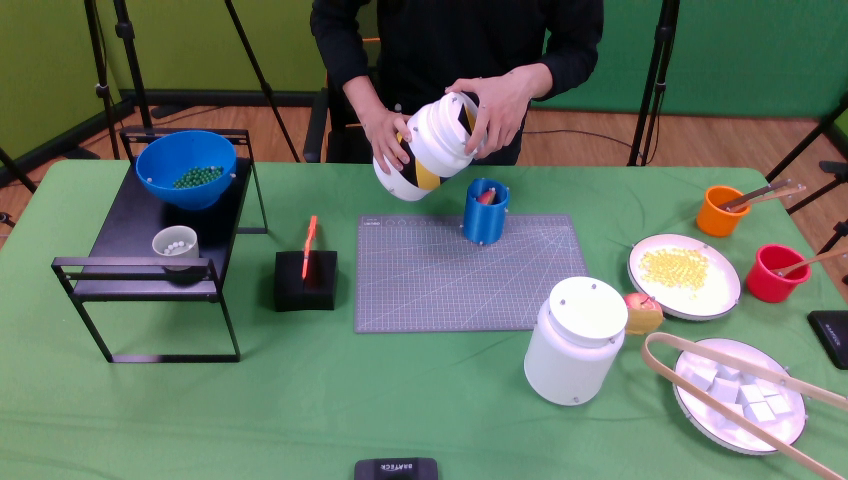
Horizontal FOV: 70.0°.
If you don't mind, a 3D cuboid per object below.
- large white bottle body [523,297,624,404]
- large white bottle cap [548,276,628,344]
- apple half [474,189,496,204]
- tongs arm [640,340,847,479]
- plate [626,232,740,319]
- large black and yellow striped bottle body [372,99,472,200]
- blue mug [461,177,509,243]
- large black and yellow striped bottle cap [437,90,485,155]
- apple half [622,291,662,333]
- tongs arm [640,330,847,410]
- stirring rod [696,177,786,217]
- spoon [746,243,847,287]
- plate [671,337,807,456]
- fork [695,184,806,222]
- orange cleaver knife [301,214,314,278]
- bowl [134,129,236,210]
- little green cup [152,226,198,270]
[{"bbox_3d":[0.235,0.159,0.952,0.131,0.185,0.130,2,47,-2],"label":"large white bottle body"},{"bbox_3d":[0.240,0.100,0.890,0.115,0.018,0.114,3,47,-3],"label":"large white bottle cap"},{"bbox_3d":[0.110,-0.067,1.200,0.032,0.081,0.081,28,50,12],"label":"apple half"},{"bbox_3d":[0.500,0.277,0.919,0.386,0.028,0.028,34,59,22],"label":"tongs arm"},{"bbox_3d":[0.488,0.070,1.157,0.209,0.038,0.208,3,46,-3],"label":"plate"},{"bbox_3d":[0.006,-0.168,1.105,0.131,0.184,0.130,24,52,-33],"label":"large black and yellow striped bottle body"},{"bbox_3d":[0.114,-0.070,1.210,0.082,0.106,0.115,-12,48,-15],"label":"blue mug"},{"bbox_3d":[0.066,-0.203,1.045,0.019,0.115,0.114,-20,34,36],"label":"large black and yellow striped bottle cap"},{"bbox_3d":[0.372,0.124,1.073,0.081,0.075,0.053,0,42,1],"label":"apple half"},{"bbox_3d":[0.543,0.225,0.969,0.384,0.026,0.050,22,52,13],"label":"tongs arm"},{"bbox_3d":[0.648,-0.087,1.244,0.176,0.006,0.014,-25,50,29],"label":"stirring rod"},{"bbox_3d":[0.702,0.043,1.126,0.194,0.022,0.041,-29,38,30],"label":"spoon"},{"bbox_3d":[0.504,0.254,0.984,0.208,0.039,0.206,2,46,-2],"label":"plate"},{"bbox_3d":[0.658,-0.074,1.230,0.207,0.019,0.028,-24,34,36],"label":"fork"},{"bbox_3d":[-0.218,0.008,1.131,0.012,0.077,0.210,7,19,-9],"label":"orange cleaver knife"},{"bbox_3d":[-0.375,-0.102,0.977,0.151,0.077,0.150,2,47,-2],"label":"bowl"},{"bbox_3d":[-0.364,0.013,0.894,0.061,0.039,0.061,3,46,-3],"label":"little green cup"}]
